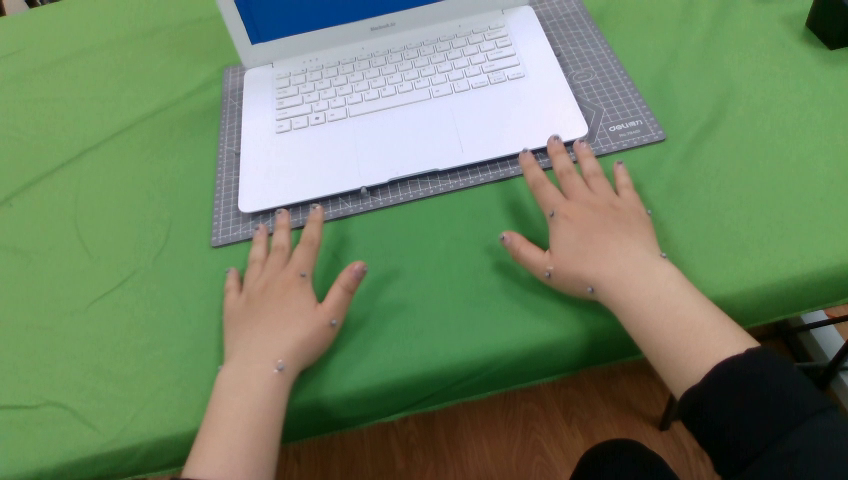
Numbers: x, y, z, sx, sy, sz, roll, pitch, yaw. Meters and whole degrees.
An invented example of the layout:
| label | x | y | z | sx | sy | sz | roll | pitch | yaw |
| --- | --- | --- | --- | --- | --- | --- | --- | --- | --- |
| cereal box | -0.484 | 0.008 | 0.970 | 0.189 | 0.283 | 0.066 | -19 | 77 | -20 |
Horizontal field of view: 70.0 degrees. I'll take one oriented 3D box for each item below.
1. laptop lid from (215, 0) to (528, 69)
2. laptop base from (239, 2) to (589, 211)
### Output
| label | x | y | z | sx | sy | sz | roll | pitch | yaw |
| --- | --- | --- | --- | --- | --- | --- | --- | --- | --- |
| laptop lid | -0.067 | -0.326 | 0.652 | 0.357 | 0.244 | 0.013 | -14 | 43 | 3 |
| laptop base | -0.026 | -0.151 | 0.661 | 0.354 | 0.023 | 0.233 | -13 | 54 | 2 |
